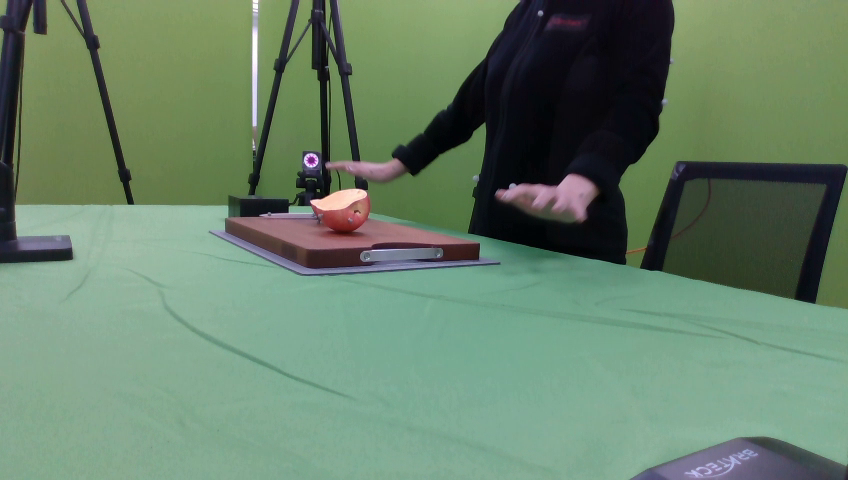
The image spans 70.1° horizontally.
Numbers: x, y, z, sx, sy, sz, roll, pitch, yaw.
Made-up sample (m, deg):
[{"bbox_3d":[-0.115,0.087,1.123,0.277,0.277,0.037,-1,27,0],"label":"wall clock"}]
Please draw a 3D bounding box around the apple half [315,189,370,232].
[{"bbox_3d":[-0.123,-0.041,0.929,0.074,0.053,0.081,11,35,39],"label":"apple half"}]

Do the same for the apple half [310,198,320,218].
[{"bbox_3d":[-0.160,-0.044,1.036,0.081,0.033,0.081,16,15,-4],"label":"apple half"}]

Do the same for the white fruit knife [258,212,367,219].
[{"bbox_3d":[-0.200,-0.046,1.112,0.208,0.016,0.027,-2,-20,-26],"label":"white fruit knife"}]
